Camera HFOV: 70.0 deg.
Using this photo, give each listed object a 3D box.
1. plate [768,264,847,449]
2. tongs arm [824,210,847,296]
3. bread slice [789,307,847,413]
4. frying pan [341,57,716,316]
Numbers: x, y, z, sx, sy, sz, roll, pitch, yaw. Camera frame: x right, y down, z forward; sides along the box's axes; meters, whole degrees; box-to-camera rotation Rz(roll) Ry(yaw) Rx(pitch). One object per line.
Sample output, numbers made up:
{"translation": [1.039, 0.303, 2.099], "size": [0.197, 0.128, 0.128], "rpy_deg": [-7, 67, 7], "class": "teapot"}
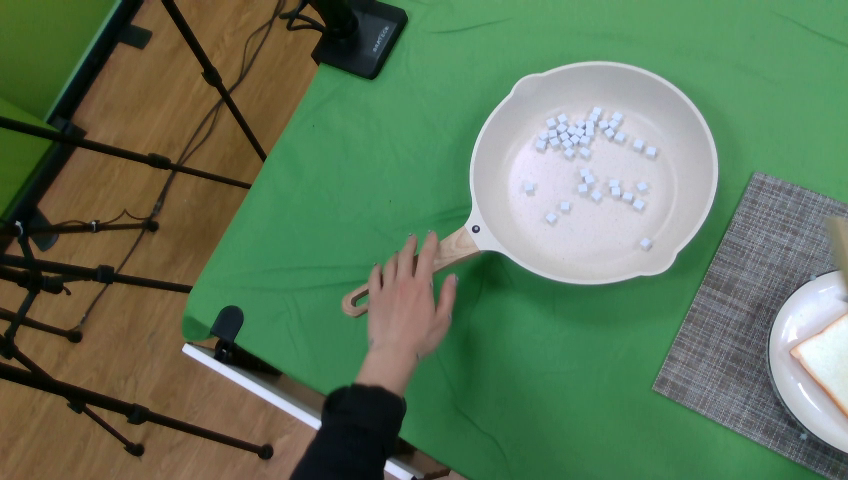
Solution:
{"translation": [0.481, 0.126, 0.649], "size": [0.207, 0.039, 0.206], "rpy_deg": [-4, 74, 13], "class": "plate"}
{"translation": [0.403, 0.155, 0.497], "size": [0.028, 0.028, 0.387], "rpy_deg": [-21, 92, 2], "class": "tongs arm"}
{"translation": [0.482, 0.118, 0.653], "size": [0.134, 0.018, 0.106], "rpy_deg": [-40, 70, 3], "class": "bread slice"}
{"translation": [0.113, -0.036, 0.756], "size": [0.488, 0.103, 0.304], "rpy_deg": [-28, 69, -4], "class": "frying pan"}
